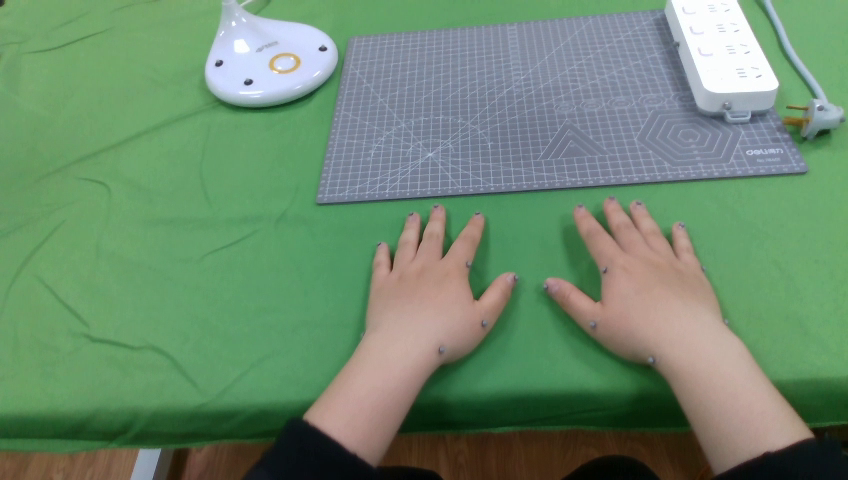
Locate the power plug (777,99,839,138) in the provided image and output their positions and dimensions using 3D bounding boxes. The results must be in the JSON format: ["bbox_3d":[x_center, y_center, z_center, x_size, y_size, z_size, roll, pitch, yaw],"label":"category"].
[{"bbox_3d":[0.361,-0.116,0.577,0.052,0.035,0.072,11,16,13],"label":"power plug"}]

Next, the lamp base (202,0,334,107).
[{"bbox_3d":[-0.206,-0.268,0.682,0.177,0.182,0.160,29,58,32],"label":"lamp base"}]

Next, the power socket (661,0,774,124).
[{"bbox_3d":[0.308,-0.208,0.649,0.072,0.033,0.224,0,49,7],"label":"power socket"}]
